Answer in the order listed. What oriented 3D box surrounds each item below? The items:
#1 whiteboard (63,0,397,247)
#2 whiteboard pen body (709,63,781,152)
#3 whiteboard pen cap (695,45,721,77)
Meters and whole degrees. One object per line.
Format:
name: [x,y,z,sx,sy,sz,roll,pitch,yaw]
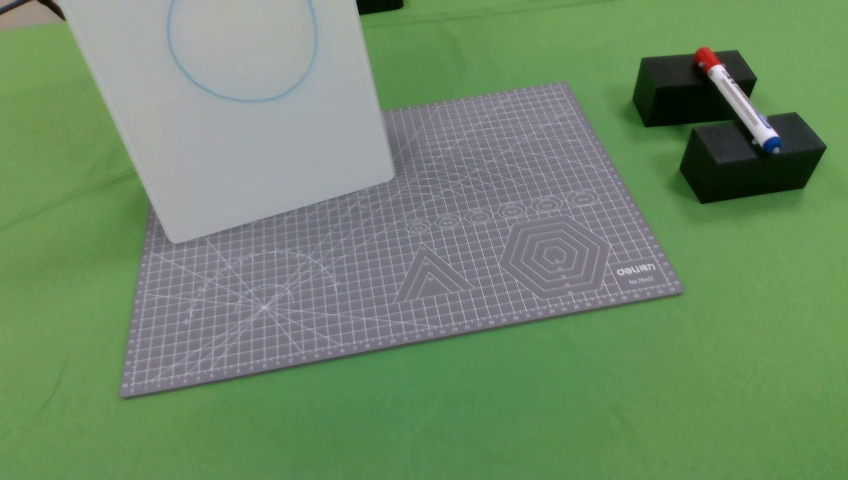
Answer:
whiteboard: [-0.172,-0.185,0.548,0.217,0.308,0.142,-18,32,-10]
whiteboard pen body: [0.288,-0.132,0.557,0.017,0.017,0.139,-8,51,-2]
whiteboard pen cap: [0.280,-0.175,0.594,0.017,0.017,0.032,-8,52,-2]
